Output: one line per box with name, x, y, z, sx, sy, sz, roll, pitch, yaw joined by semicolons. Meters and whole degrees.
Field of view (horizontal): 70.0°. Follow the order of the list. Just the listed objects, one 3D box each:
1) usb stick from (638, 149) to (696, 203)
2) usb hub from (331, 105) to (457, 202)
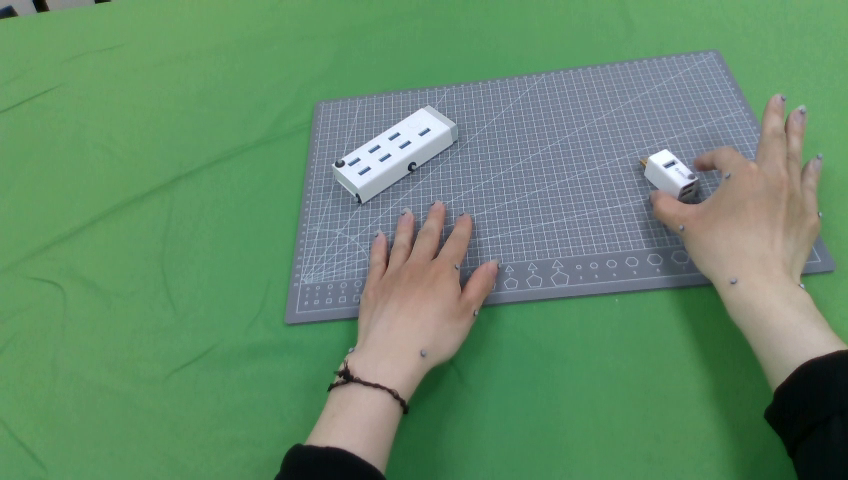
usb stick;0.216;-0.062;0.546;0.021;0.027;0.058;-25;48;-9
usb hub;-0.029;-0.090;0.611;0.125;0.025;0.049;-35;54;-18
